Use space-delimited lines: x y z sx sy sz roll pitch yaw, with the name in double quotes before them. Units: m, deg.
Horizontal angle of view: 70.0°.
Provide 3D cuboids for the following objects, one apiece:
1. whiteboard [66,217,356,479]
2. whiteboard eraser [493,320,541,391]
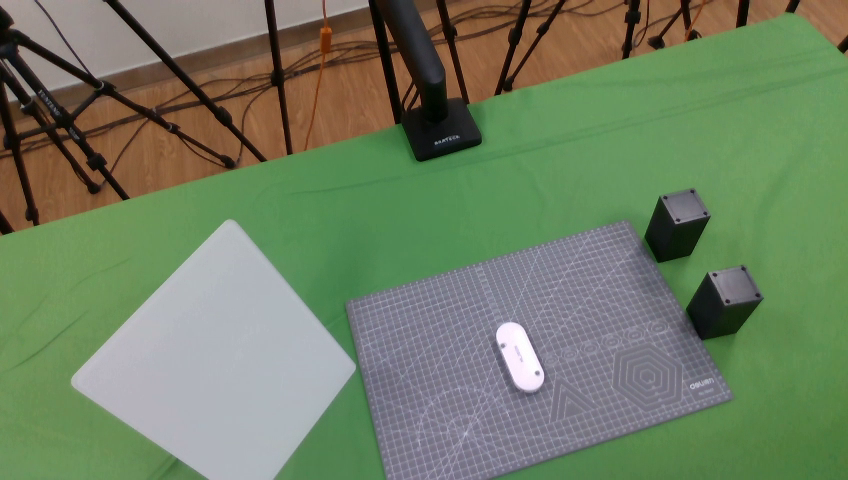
"whiteboard" -0.259 0.137 0.732 0.142 0.309 0.216 17 59 39
"whiteboard eraser" 0.124 0.153 0.815 0.041 0.019 0.100 -17 58 -6
